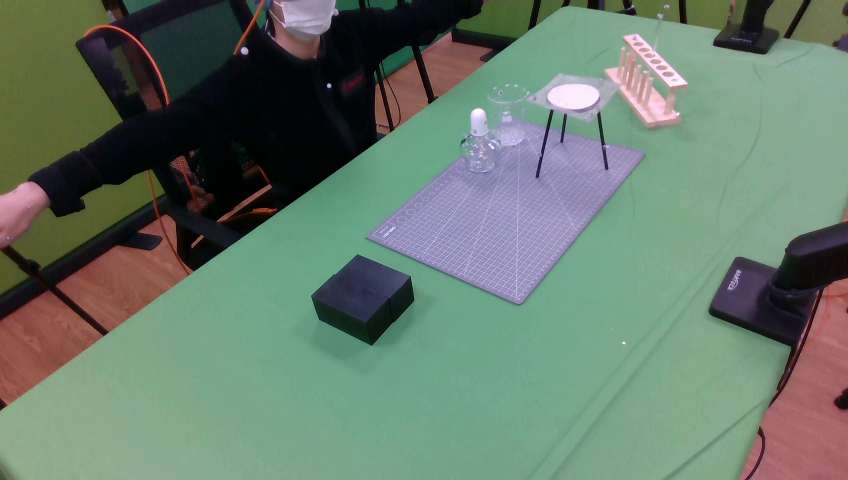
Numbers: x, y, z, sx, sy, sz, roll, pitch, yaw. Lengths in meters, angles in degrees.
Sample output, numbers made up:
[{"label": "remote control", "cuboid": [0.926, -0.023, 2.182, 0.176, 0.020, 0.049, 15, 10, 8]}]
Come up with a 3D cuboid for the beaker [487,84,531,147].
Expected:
[{"label": "beaker", "cuboid": [0.163, -0.237, 1.161, 0.084, 0.101, 0.073, -10, 41, -3]}]

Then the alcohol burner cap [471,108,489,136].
[{"label": "alcohol burner cap", "cuboid": [0.098, -0.211, 1.074, 0.034, 0.048, 0.033, -6, 41, 6]}]

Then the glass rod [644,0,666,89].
[{"label": "glass rod", "cuboid": [0.465, -0.397, 1.215, 0.008, 0.200, 0.008, 0, 39, 1]}]

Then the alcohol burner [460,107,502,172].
[{"label": "alcohol burner", "cuboid": [0.102, -0.185, 1.098, 0.078, 0.119, 0.077, -6, 40, 5]}]

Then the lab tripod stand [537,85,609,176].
[{"label": "lab tripod stand", "cuboid": [0.259, -0.192, 1.068, 0.148, 0.132, 0.147, -4, 42, 4]}]

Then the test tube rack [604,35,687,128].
[{"label": "test tube rack", "cuboid": [0.447, -0.330, 1.241, 0.067, 0.085, 0.241, -9, 41, -2]}]

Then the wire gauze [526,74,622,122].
[{"label": "wire gauze", "cuboid": [0.255, -0.248, 1.030, 0.124, 0.011, 0.122, 24, 51, 32]}]
